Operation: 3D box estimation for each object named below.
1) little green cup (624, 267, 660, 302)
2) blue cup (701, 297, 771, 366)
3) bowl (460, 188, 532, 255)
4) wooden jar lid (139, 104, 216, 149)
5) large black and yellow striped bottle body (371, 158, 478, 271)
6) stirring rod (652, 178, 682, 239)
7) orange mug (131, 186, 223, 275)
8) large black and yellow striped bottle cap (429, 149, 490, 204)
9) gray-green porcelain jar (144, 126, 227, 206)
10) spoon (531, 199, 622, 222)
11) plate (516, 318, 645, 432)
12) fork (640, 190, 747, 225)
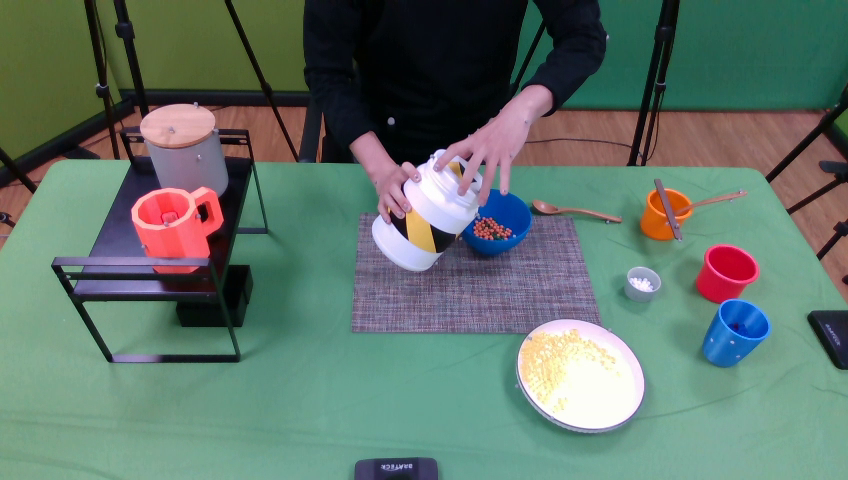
[{"bbox_3d":[0.406,0.084,1.135,0.061,0.039,0.061,3,46,-3],"label":"little green cup"},{"bbox_3d":[0.519,0.162,1.025,0.093,0.101,0.092,3,46,-3],"label":"blue cup"},{"bbox_3d":[0.130,-0.025,1.186,0.151,0.077,0.150,2,46,-2],"label":"bowl"},{"bbox_3d":[-0.372,-0.169,0.920,0.108,0.021,0.107,4,44,-4],"label":"wooden jar lid"},{"bbox_3d":[0.009,-0.050,1.039,0.131,0.184,0.130,31,29,-19],"label":"large black and yellow striped bottle body"},{"bbox_3d":[0.481,-0.065,1.204,0.014,0.006,0.175,2,46,-1],"label":"stirring rod"},{"bbox_3d":[-0.354,-0.023,0.887,0.083,0.101,0.126,31,56,24],"label":"orange mug"},{"bbox_3d":[0.059,-0.106,1.000,0.115,0.019,0.114,30,28,-18],"label":"large black and yellow striped bottle cap"},{"bbox_3d":[-0.375,-0.125,0.967,0.106,0.127,0.105,2,46,-2],"label":"gray-green porcelain jar"},{"bbox_3d":[0.322,-0.060,1.279,0.194,0.022,0.041,8,33,5],"label":"spoon"},{"bbox_3d":[0.253,0.221,0.992,0.209,0.038,0.208,2,46,-2],"label":"plate"},{"bbox_3d":[0.533,-0.065,1.211,0.207,0.019,0.028,-22,28,39],"label":"fork"}]
